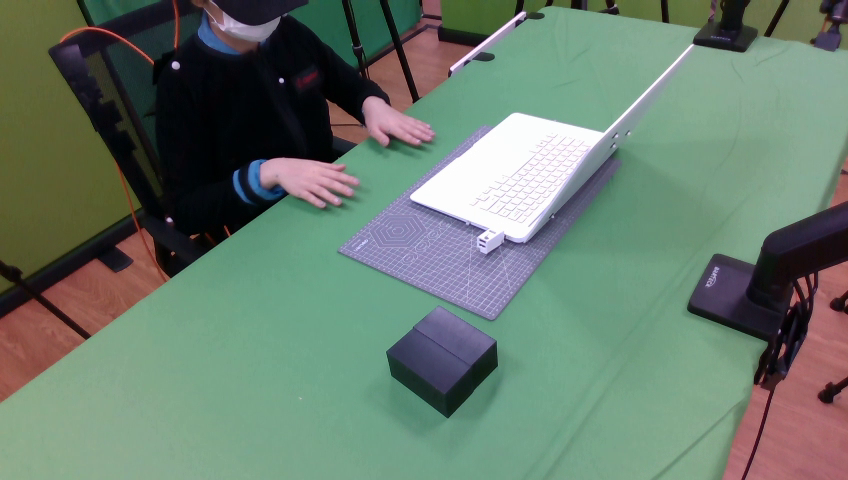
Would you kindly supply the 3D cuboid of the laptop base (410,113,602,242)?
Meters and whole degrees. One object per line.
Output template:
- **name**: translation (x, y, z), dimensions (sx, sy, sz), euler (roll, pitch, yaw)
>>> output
- **laptop base**: translation (0.171, -0.127, 1.096), dimensions (0.233, 0.023, 0.355), euler (21, 47, 34)

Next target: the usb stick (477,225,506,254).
- **usb stick**: translation (0.107, -0.004, 0.933), dimensions (0.021, 0.027, 0.059), euler (25, 38, 35)

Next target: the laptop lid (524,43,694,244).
- **laptop lid**: translation (0.290, -0.151, 0.941), dimensions (0.013, 0.241, 0.358), euler (40, 54, 12)
